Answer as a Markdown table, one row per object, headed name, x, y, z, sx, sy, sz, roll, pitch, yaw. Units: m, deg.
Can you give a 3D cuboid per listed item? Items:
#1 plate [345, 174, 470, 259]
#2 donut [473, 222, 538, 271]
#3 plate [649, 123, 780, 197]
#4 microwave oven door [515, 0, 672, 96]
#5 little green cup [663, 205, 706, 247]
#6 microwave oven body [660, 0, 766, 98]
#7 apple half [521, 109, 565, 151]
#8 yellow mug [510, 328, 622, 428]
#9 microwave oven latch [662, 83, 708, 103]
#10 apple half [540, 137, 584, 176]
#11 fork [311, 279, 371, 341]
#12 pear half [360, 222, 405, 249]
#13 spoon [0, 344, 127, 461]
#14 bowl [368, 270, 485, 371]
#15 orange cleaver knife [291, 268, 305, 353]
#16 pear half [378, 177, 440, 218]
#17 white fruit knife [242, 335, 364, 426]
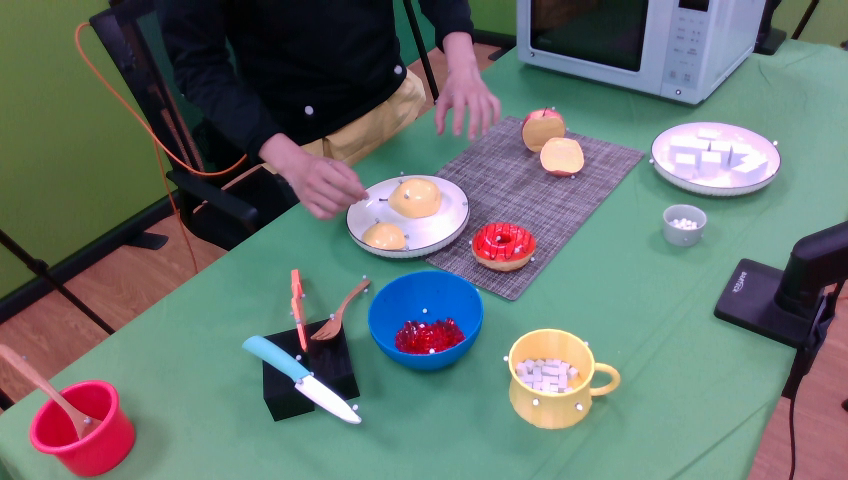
| name | x | y | z | sx | sy | sz | roll | pitch | yaw |
| --- | --- | --- | --- | --- | --- | --- | --- | --- | --- |
| plate | -0.026 | -0.037 | 1.004 | 0.209 | 0.038 | 0.208 | -4 | 40 | 4 |
| donut | 0.123 | 0.008 | 0.923 | 0.099 | 0.048 | 0.098 | -3 | 38 | 3 |
| plate | 0.497 | -0.135 | 1.046 | 0.207 | 0.039 | 0.206 | -4 | 40 | 4 |
| microwave oven door | 0.343 | -0.455 | 1.259 | 0.353 | 0.245 | 0.039 | 26 | 51 | 33 |
| little green cup | 0.396 | -0.021 | 0.926 | 0.061 | 0.039 | 0.061 | -4 | 40 | 4 |
| microwave oven body | 0.472 | -0.513 | 1.317 | 0.438 | 0.261 | 0.327 | 26 | 51 | 34 |
| apple half | 0.224 | -0.212 | 1.145 | 0.080 | 0.075 | 0.053 | -6 | 36 | 9 |
| yellow mug | 0.168 | 0.164 | 0.722 | 0.130 | 0.064 | 0.099 | 0 | 40 | 8 |
| microwave oven latch | 0.517 | -0.296 | 1.204 | 0.078 | 0.029 | 0.030 | 27 | 52 | 35 |
| apple half | 0.247 | -0.146 | 1.088 | 0.081 | 0.033 | 0.081 | -1 | 65 | 3 |
| fork | -0.108 | 0.092 | 0.832 | 0.028 | 0.019 | 0.207 | -6 | 19 | 15 |
| pear half | -0.064 | -0.013 | 0.960 | 0.071 | 0.031 | 0.087 | 6 | 24 | -23 |
| spoon | -0.433 | 0.191 | 0.721 | 0.194 | 0.021 | 0.042 | 47 | 54 | -7 |
| bowl | 0.007 | 0.118 | 0.791 | 0.151 | 0.077 | 0.150 | -5 | 40 | 4 |
| orange cleaver knife | -0.175 | 0.093 | 0.844 | 0.012 | 0.077 | 0.210 | -11 | 15 | -10 |
| pear half | -0.030 | -0.079 | 1.033 | 0.109 | 0.056 | 0.076 | 0 | 36 | 14 |
| white fruit knife | -0.148 | 0.167 | 0.730 | 0.206 | 0.016 | 0.027 | 26 | 79 | 31 |
